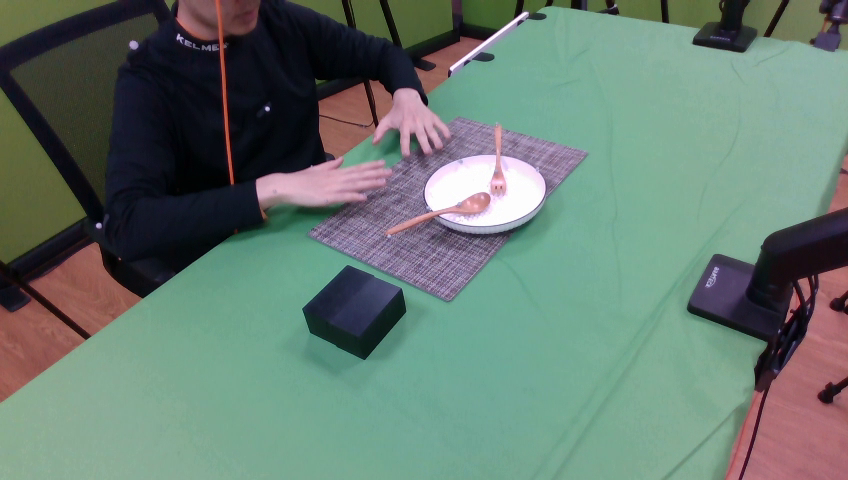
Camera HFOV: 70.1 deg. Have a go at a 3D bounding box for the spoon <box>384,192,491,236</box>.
[{"bbox_3d":[0.023,-0.042,0.970,0.195,0.022,0.041,-17,45,-23],"label":"spoon"}]

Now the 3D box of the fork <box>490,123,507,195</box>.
[{"bbox_3d":[0.133,-0.149,1.082,0.028,0.019,0.206,-2,49,8],"label":"fork"}]

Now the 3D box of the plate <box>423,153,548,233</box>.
[{"bbox_3d":[0.104,-0.076,1.024,0.209,0.038,0.208,-4,40,4],"label":"plate"}]
